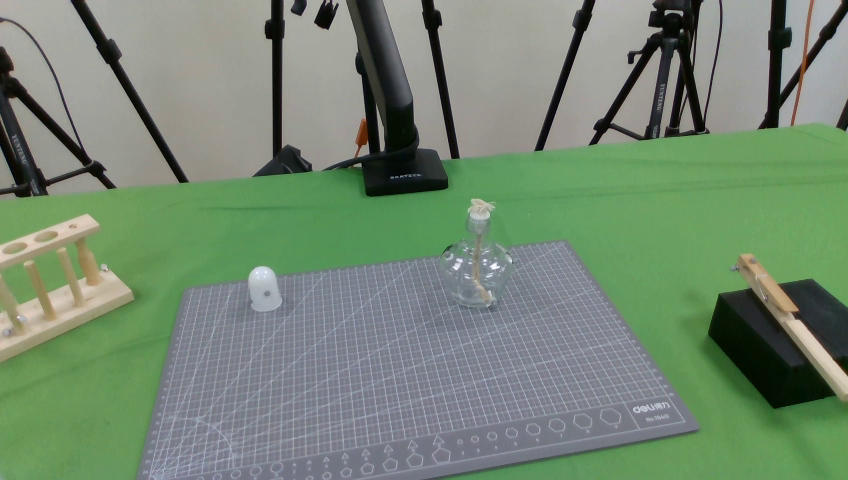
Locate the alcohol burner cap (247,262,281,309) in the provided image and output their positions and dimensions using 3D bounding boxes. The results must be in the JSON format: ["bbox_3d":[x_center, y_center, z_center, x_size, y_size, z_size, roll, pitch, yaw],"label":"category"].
[{"bbox_3d":[-0.171,0.045,0.639,0.034,0.048,0.033,-1,33,1],"label":"alcohol burner cap"}]

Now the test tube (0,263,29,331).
[{"bbox_3d":[-0.402,0.024,0.563,0.017,0.151,0.017,0,34,1],"label":"test tube"}]

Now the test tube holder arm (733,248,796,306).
[{"bbox_3d":[0.314,0.036,0.561,0.015,0.010,0.087,-1,34,-1],"label":"test tube holder arm"}]

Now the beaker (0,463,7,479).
[{"bbox_3d":[-0.354,0.157,0.428,0.083,0.101,0.073,9,34,17],"label":"beaker"}]

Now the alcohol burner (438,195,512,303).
[{"bbox_3d":[0.054,0.006,0.625,0.078,0.120,0.077,0,33,0],"label":"alcohol burner"}]

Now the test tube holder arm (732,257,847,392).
[{"bbox_3d":[0.315,0.065,0.527,0.015,0.013,0.176,-1,33,-1],"label":"test tube holder arm"}]

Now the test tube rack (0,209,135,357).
[{"bbox_3d":[-0.426,0.062,0.590,0.066,0.086,0.242,28,43,36],"label":"test tube rack"}]
